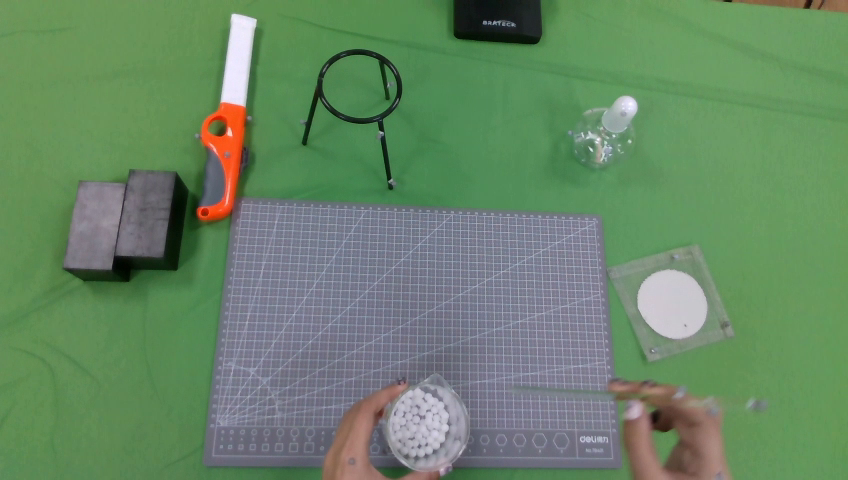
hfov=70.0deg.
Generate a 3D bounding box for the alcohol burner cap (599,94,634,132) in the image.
[{"bbox_3d":[0.227,-0.150,0.706,0.034,0.048,0.033,1,76,-3],"label":"alcohol burner cap"}]

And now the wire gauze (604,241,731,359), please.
[{"bbox_3d":[0.298,0.071,0.738,0.125,0.011,0.120,-15,75,-8],"label":"wire gauze"}]

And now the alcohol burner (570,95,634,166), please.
[{"bbox_3d":[0.223,-0.139,0.741,0.078,0.119,0.077,2,70,-5],"label":"alcohol burner"}]

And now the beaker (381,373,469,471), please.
[{"bbox_3d":[-0.003,0.169,0.572,0.074,0.100,0.083,12,74,-5],"label":"beaker"}]

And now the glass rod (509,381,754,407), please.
[{"bbox_3d":[0.135,0.110,0.437,0.008,0.199,0.008,7,78,-37],"label":"glass rod"}]

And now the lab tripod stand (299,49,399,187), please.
[{"bbox_3d":[-0.076,-0.147,0.700,0.148,0.132,0.147,2,70,-4],"label":"lab tripod stand"}]

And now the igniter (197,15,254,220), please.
[{"bbox_3d":[-0.239,-0.153,0.738,0.057,0.025,0.275,8,71,-19],"label":"igniter"}]
